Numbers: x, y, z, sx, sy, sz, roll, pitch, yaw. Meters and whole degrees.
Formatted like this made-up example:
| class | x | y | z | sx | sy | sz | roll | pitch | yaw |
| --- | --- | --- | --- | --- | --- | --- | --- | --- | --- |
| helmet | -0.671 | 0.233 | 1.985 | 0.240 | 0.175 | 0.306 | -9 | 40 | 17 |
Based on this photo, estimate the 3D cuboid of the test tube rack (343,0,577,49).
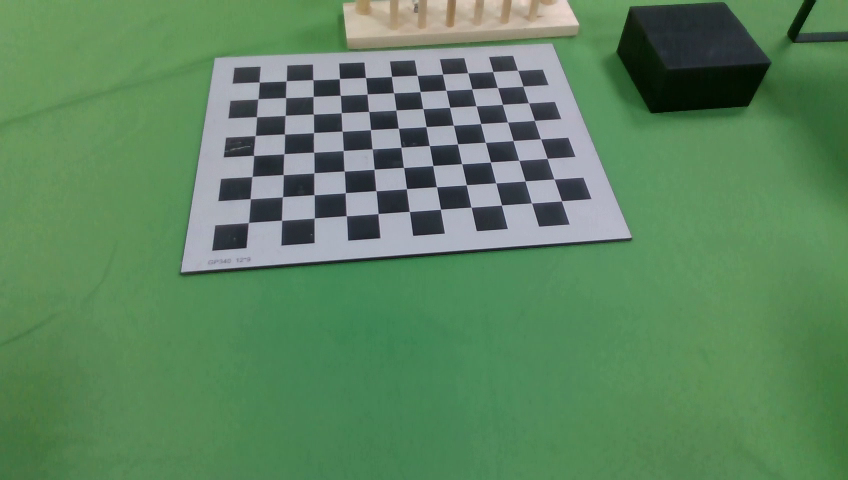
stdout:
| class | x | y | z | sx | sy | sz | roll | pitch | yaw |
| --- | --- | --- | --- | --- | --- | --- | --- | --- | --- |
| test tube rack | 0.039 | -0.257 | 0.618 | 0.243 | 0.086 | 0.066 | -5 | 52 | -6 |

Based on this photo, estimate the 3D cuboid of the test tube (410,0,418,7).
| class | x | y | z | sx | sy | sz | roll | pitch | yaw |
| --- | --- | --- | --- | --- | --- | --- | --- | --- | --- |
| test tube | -0.002 | -0.299 | 0.586 | 0.017 | 0.151 | 0.017 | 4 | 47 | -4 |
